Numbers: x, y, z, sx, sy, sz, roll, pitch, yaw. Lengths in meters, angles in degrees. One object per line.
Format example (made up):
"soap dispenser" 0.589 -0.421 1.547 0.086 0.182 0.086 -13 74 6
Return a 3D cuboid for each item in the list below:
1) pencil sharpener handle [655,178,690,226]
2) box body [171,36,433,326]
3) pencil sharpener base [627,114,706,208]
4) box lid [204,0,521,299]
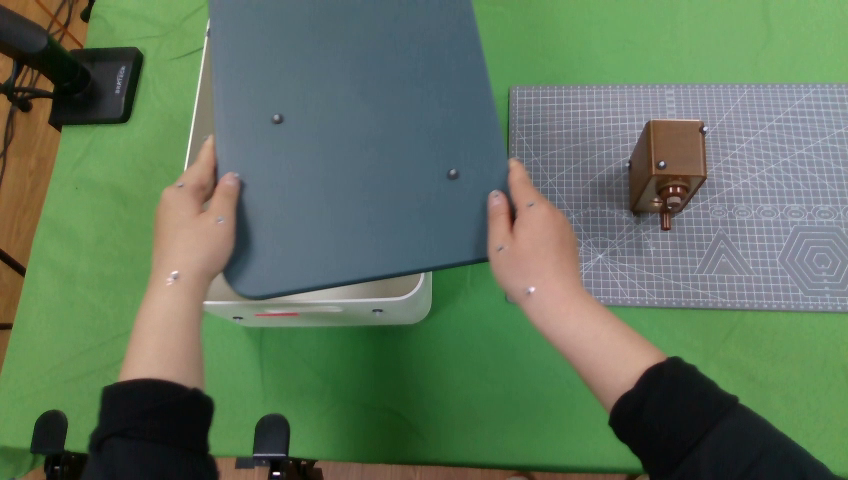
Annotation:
"pencil sharpener handle" 0.272 -0.041 0.667 0.036 0.068 0.030 0 71 12
"box body" -0.117 -0.084 0.709 0.254 0.161 0.361 -2 71 5
"pencil sharpener base" 0.275 -0.085 0.695 0.061 0.108 0.076 2 72 7
"box lid" -0.070 -0.138 0.576 0.263 0.015 0.368 -10 70 -3
